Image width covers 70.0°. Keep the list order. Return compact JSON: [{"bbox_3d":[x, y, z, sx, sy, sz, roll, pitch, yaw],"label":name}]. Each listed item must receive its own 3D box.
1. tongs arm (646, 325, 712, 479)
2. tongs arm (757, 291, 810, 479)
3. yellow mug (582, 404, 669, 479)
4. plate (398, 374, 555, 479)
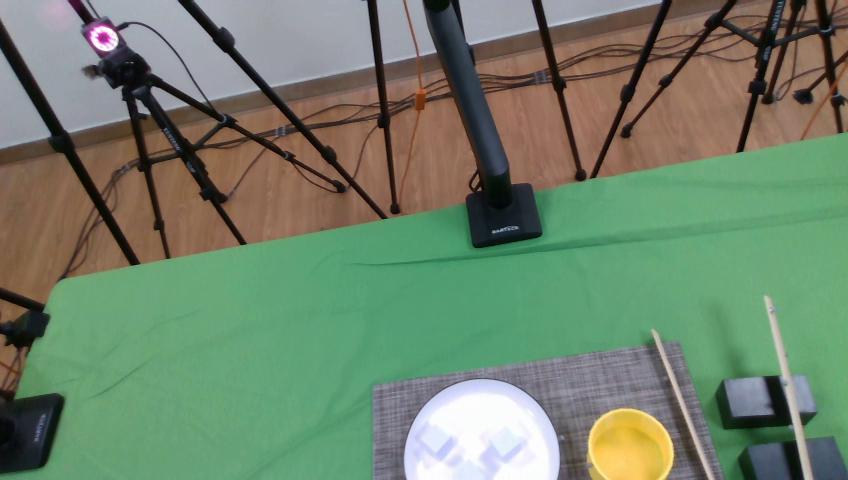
[{"bbox_3d":[0.355,0.273,0.753,0.028,0.028,0.383,-28,50,20],"label":"tongs arm"},{"bbox_3d":[0.420,0.244,0.712,0.050,0.027,0.381,-18,56,31],"label":"tongs arm"},{"bbox_3d":[0.244,0.277,0.756,0.099,0.064,0.130,18,62,23],"label":"yellow mug"},{"bbox_3d":[0.070,0.284,0.811,0.207,0.039,0.205,-6,55,9],"label":"plate"}]
